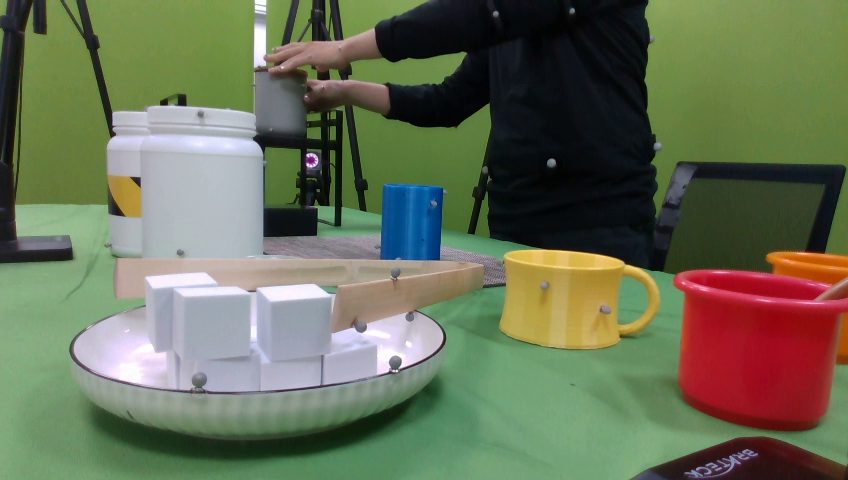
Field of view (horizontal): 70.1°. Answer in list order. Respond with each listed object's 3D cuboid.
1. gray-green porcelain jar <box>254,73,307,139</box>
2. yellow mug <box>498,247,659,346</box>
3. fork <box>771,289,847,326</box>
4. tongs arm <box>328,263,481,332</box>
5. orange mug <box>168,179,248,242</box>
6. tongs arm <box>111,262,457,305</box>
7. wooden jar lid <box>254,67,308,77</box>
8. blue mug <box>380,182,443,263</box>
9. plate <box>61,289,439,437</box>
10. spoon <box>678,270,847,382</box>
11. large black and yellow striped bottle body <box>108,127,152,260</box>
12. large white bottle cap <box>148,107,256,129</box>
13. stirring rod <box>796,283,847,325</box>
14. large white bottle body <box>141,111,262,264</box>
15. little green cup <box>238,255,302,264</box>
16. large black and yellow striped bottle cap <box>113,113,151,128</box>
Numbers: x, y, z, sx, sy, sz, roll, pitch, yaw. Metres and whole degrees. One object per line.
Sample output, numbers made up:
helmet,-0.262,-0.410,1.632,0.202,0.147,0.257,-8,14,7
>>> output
gray-green porcelain jar,-0.298,-0.277,1.259,0.106,0.126,0.106,3,7,0
yellow mug,0.130,0.045,0.508,0.131,0.064,0.100,4,7,6
fork,0.335,0.018,0.443,0.028,0.018,0.207,-1,-36,-20
tongs arm,-0.003,0.036,0.493,0.050,0.026,0.386,1,-1,19
orange mug,-0.351,-0.050,0.986,0.126,0.101,0.083,-3,8,-9
tongs arm,-0.080,0.033,0.527,0.028,0.027,0.389,-4,-4,33
wooden jar lid,-0.296,-0.339,1.251,0.108,0.020,0.108,1,7,0
blue mug,-0.019,-0.026,0.833,0.082,0.106,0.116,1,7,-7
plate,-0.095,0.069,0.362,0.208,0.039,0.207,2,7,0
spoon,0.229,0.031,0.338,0.193,0.021,0.042,-44,-16,27
large black and yellow striped bottle body,-0.350,-0.071,0.812,0.131,0.184,0.130,2,7,0
large white bottle cap,-0.250,-0.137,0.686,0.115,0.018,0.115,3,8,0
stirring rod,0.347,0.019,0.460,0.014,0.176,0.006,-17,59,-26
large white bottle body,-0.254,-0.053,0.697,0.131,0.184,0.130,2,7,0
little green cup,-0.150,0.038,0.590,0.061,0.038,0.061,3,6,0
large black and yellow striped bottle cap,-0.348,-0.154,0.800,0.115,0.019,0.115,2,6,0
